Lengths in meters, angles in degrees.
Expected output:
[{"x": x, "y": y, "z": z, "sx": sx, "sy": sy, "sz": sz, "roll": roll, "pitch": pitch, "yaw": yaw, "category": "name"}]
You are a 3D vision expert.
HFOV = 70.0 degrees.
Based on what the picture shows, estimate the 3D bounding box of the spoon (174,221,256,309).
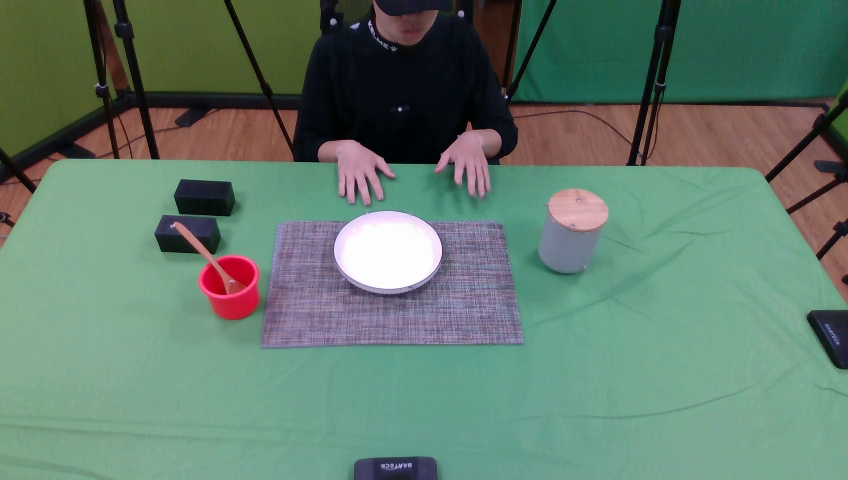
[{"x": -0.360, "y": 0.043, "z": 1.043, "sx": 0.194, "sy": 0.021, "sz": 0.041, "roll": 54, "pitch": 52, "yaw": -14, "category": "spoon"}]

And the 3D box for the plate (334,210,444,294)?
[{"x": -0.066, "y": 0.026, "z": 1.150, "sx": 0.208, "sy": 0.039, "sz": 0.206, "roll": 2, "pitch": 46, "yaw": -2, "category": "plate"}]

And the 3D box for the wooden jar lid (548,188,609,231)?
[{"x": 0.280, "y": -0.052, "z": 1.105, "sx": 0.108, "sy": 0.021, "sz": 0.107, "roll": 0, "pitch": 48, "yaw": 0, "category": "wooden jar lid"}]

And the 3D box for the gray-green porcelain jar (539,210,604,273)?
[{"x": 0.277, "y": -0.007, "z": 1.151, "sx": 0.106, "sy": 0.127, "sz": 0.105, "roll": 2, "pitch": 46, "yaw": -1, "category": "gray-green porcelain jar"}]
